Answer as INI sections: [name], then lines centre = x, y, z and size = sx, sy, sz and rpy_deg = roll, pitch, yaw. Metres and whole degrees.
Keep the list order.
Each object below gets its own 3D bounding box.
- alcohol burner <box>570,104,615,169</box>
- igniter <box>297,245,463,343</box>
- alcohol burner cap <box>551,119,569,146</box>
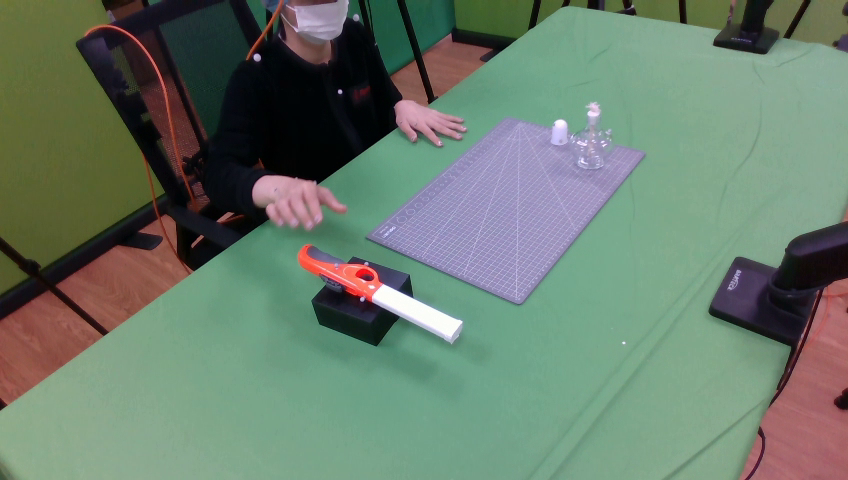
[alcohol burner]
centre = 0.299, -0.186, 1.071
size = 0.078, 0.119, 0.077
rpy_deg = -6, 41, 6
[igniter]
centre = -0.070, 0.068, 0.828
size = 0.274, 0.025, 0.057
rpy_deg = 23, 49, 25
[alcohol burner cap]
centre = 0.261, -0.207, 1.156
size = 0.034, 0.048, 0.033
rpy_deg = -5, 41, 5
